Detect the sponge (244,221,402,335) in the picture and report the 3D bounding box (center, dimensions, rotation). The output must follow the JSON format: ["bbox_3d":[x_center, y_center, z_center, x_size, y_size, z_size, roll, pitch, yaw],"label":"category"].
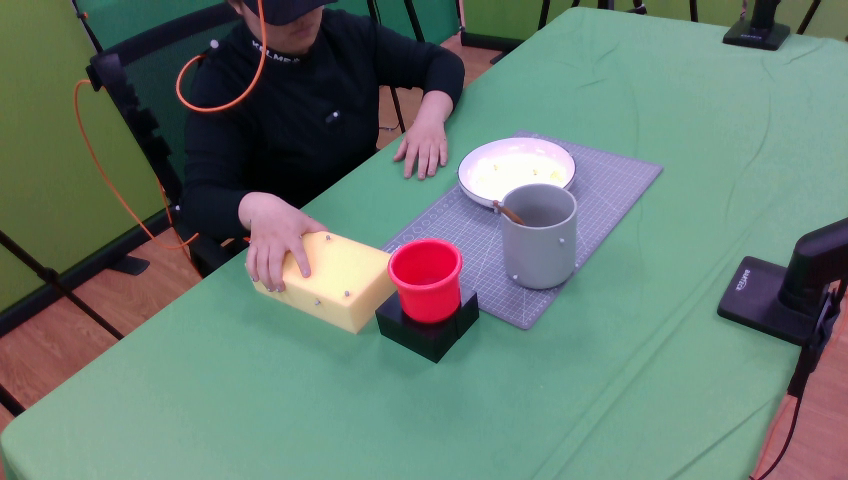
[{"bbox_3d":[-0.153,0.052,0.920,0.205,0.061,0.118,18,47,28],"label":"sponge"}]

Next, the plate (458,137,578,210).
[{"bbox_3d":[0.165,-0.113,1.068,0.207,0.039,0.206,-5,40,5],"label":"plate"}]

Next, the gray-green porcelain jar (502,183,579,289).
[{"bbox_3d":[0.166,-0.001,0.866,0.106,0.127,0.105,-5,40,5],"label":"gray-green porcelain jar"}]

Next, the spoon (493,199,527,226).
[{"bbox_3d":[0.135,-0.016,0.831,0.021,0.195,0.041,-49,53,-1],"label":"spoon"}]
